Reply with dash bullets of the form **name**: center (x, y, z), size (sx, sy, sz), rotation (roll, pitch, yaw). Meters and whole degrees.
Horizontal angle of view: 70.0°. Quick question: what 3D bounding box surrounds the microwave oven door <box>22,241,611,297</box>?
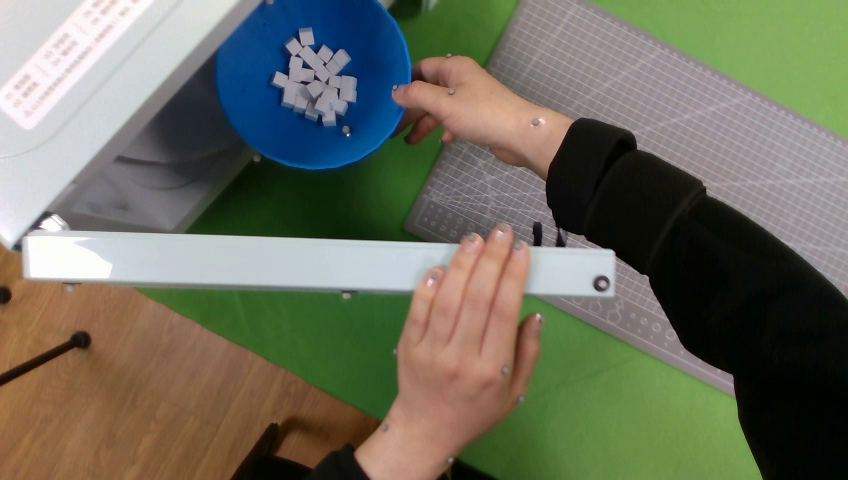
- **microwave oven door**: center (-0.065, 0.021, 0.478), size (0.356, 0.244, 0.039), rotation (2, 86, -3)

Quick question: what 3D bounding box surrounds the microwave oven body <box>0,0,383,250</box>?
- **microwave oven body**: center (-0.206, -0.241, 0.487), size (0.326, 0.260, 0.441), rotation (41, 87, -1)

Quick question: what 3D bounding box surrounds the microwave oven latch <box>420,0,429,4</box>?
- **microwave oven latch**: center (0.019, -0.273, 0.596), size (0.030, 0.029, 0.079), rotation (43, 87, -1)

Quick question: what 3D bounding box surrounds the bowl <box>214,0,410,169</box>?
- **bowl**: center (-0.086, -0.128, 0.501), size (0.151, 0.077, 0.151), rotation (0, 89, -3)
